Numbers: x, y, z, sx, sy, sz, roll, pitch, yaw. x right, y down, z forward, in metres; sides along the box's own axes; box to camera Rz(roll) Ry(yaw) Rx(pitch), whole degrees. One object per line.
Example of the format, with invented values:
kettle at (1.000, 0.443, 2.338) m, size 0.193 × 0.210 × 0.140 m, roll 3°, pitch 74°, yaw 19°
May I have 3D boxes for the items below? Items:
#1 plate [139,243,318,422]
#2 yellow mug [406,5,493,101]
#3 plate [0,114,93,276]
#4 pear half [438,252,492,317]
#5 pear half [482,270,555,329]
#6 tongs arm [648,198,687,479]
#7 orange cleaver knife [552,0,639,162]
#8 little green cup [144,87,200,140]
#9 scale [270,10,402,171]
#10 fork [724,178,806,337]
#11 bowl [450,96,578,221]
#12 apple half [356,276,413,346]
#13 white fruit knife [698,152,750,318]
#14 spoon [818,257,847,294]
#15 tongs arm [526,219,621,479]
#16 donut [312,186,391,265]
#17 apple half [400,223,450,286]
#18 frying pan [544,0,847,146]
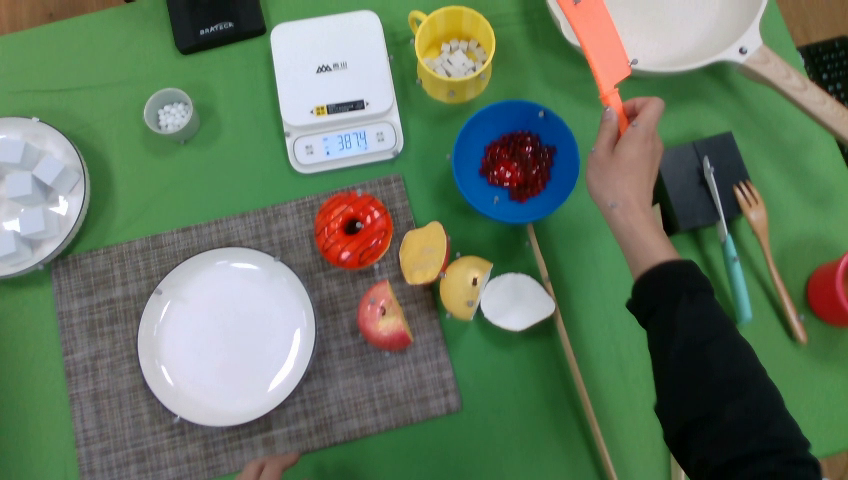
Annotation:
plate at (-0.227, 0.108, 0.718) m, size 0.209 × 0.038 × 0.208 m, roll 0°, pitch 78°, yaw 0°
yellow mug at (0.025, -0.248, 0.778) m, size 0.130 × 0.064 × 0.100 m, roll 42°, pitch 82°, yaw 9°
plate at (-0.514, -0.055, 0.757) m, size 0.208 × 0.039 × 0.206 m, roll 0°, pitch 78°, yaw 0°
pear half at (0.044, 0.045, 0.697) m, size 0.056 × 0.110 × 0.076 m, roll 17°, pitch 74°, yaw 5°
pear half at (0.115, 0.074, 0.731) m, size 0.087 × 0.031 × 0.070 m, roll 8°, pitch 80°, yaw 18°
tongs arm at (0.284, 0.139, 0.717) m, size 0.028 × 0.028 × 0.386 m, roll 1°, pitch 79°, yaw -7°
orange cleaver knife at (0.186, -0.185, 0.624) m, size 0.077 × 0.012 × 0.212 m, roll -31°, pitch 100°, yaw -33°
little green cup at (-0.320, -0.159, 0.777) m, size 0.061 × 0.039 × 0.061 m, roll 0°, pitch 78°, yaw 1°
scale at (-0.115, -0.196, 0.786) m, size 0.149 × 0.031 × 0.200 m, roll -10°, pitch 79°, yaw -1°
fork at (0.410, 0.022, 0.723) m, size 0.028 × 0.018 × 0.207 m, roll -26°, pitch 94°, yaw -7°
bowl at (0.105, -0.089, 0.740) m, size 0.151 × 0.077 × 0.150 m, roll 0°, pitch 79°, yaw 0°
apple half at (-0.050, 0.088, 0.703) m, size 0.053 × 0.075 × 0.080 m, roll -25°, pitch 83°, yaw 0°
white fruit knife at (0.355, -0.004, 0.720) m, size 0.016 × 0.027 × 0.207 m, roll -17°, pitch 94°, yaw -2°
spoon at (0.516, 0.079, 0.668) m, size 0.041 × 0.022 × 0.191 m, roll -19°, pitch 34°, yaw -4°
tongs arm at (0.199, 0.152, 0.712) m, size 0.051 × 0.026 × 0.383 m, roll -14°, pitch 80°, yaw -6°
donut at (-0.089, -0.018, 0.739) m, size 0.099 × 0.048 × 0.098 m, roll -1°, pitch 80°, yaw 3°
apple half at (0.009, 0.018, 0.738) m, size 0.081 × 0.033 × 0.081 m, roll 5°, pitch 98°, yaw 43°
frying pan at (0.356, -0.270, 0.760) m, size 0.306 × 0.103 × 0.484 m, roll -41°, pitch 73°, yaw -6°
